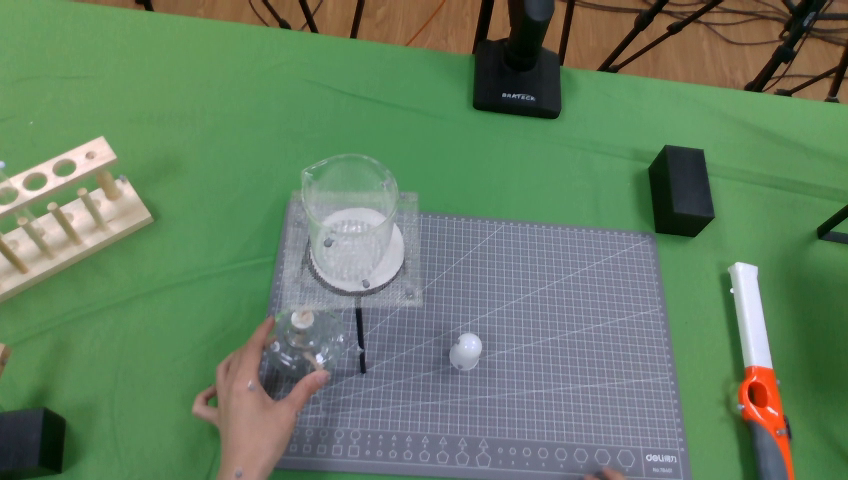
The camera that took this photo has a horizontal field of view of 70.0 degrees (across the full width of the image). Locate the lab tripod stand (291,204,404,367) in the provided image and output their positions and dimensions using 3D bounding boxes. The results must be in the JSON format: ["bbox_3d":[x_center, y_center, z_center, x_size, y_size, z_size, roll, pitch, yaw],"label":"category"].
[{"bbox_3d":[-0.070,0.039,0.605,0.149,0.132,0.147,4,62,-7],"label":"lab tripod stand"}]

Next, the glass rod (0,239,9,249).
[{"bbox_3d":[-0.442,-0.046,0.559,0.008,0.201,0.008,0,56,0],"label":"glass rod"}]

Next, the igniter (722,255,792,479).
[{"bbox_3d":[0.363,0.144,0.666,0.057,0.025,0.274,12,62,-12],"label":"igniter"}]

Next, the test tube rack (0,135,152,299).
[{"bbox_3d":[-0.419,-0.006,0.617,0.242,0.086,0.066,-33,70,-22],"label":"test tube rack"}]

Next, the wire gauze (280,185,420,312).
[{"bbox_3d":[-0.067,0.004,0.550,0.121,0.011,0.124,0,66,-5],"label":"wire gauze"}]

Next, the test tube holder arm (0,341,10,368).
[{"bbox_3d":[-0.389,0.132,0.532,0.010,0.015,0.087,8,61,-3],"label":"test tube holder arm"}]

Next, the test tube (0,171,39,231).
[{"bbox_3d":[-0.410,-0.052,0.586,0.017,0.151,0.017,4,57,-5],"label":"test tube"}]

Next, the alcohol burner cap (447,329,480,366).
[{"bbox_3d":[0.043,0.111,0.634,0.034,0.048,0.033,2,64,-3],"label":"alcohol burner cap"}]

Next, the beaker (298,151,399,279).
[{"bbox_3d":[-0.066,-0.017,0.506,0.084,0.101,0.073,28,63,8],"label":"beaker"}]

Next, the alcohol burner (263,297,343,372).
[{"bbox_3d":[-0.117,0.085,0.587,0.078,0.120,0.077,4,60,-6],"label":"alcohol burner"}]
